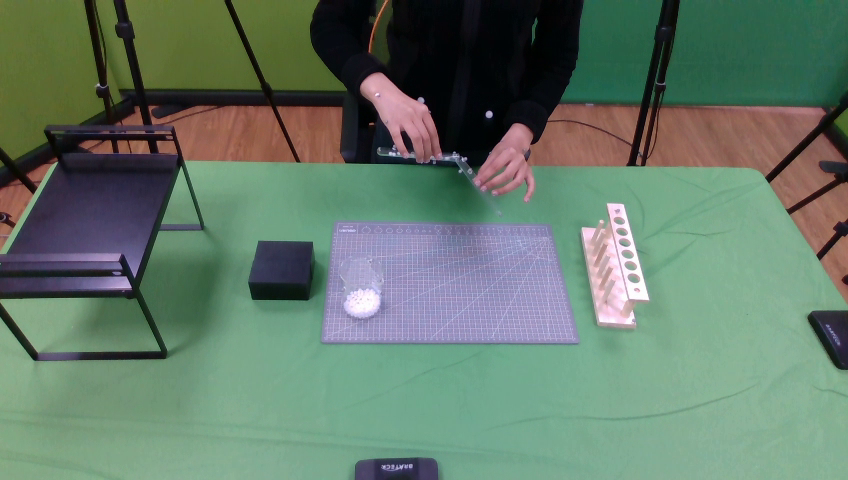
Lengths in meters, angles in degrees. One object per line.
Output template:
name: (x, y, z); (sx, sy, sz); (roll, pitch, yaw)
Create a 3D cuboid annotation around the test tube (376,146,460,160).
test tube: (-0.010, -0.152, 1.065); (0.151, 0.017, 0.017); (2, 46, -13)

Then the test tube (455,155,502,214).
test tube: (0.103, -0.100, 1.123); (0.017, 0.151, 0.017); (-28, 35, 21)

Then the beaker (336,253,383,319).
beaker: (-0.108, 0.084, 1.052); (0.084, 0.101, 0.074); (25, 50, 17)

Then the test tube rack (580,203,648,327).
test tube rack: (0.352, 0.041, 1.143); (0.067, 0.085, 0.241); (4, 46, 0)
